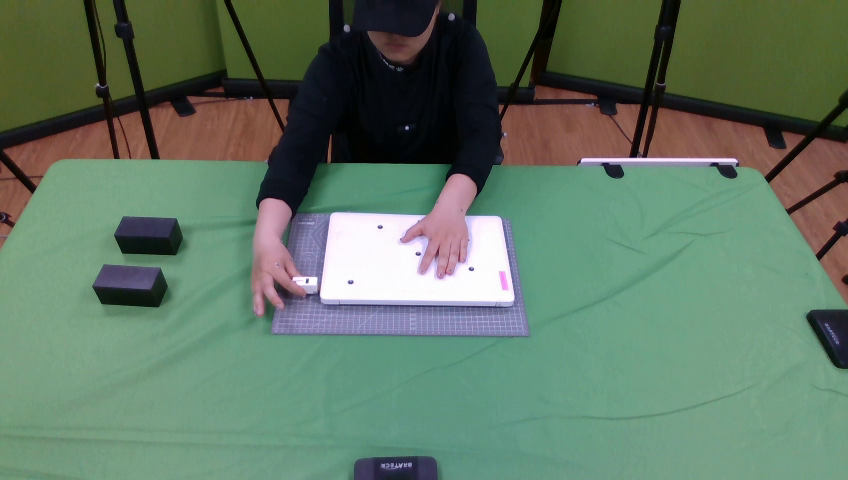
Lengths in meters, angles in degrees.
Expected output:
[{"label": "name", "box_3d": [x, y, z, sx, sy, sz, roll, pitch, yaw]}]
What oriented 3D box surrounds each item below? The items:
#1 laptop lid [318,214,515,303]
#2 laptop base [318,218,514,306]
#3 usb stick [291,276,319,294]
[{"label": "laptop lid", "box_3d": [-0.014, 0.029, 1.157, 0.357, 0.013, 0.240, 3, 43, -2]}, {"label": "laptop base", "box_3d": [-0.015, 0.038, 1.162, 0.354, 0.023, 0.234, 1, 42, -3]}, {"label": "usb stick", "box_3d": [-0.208, 0.081, 1.085, 0.059, 0.027, 0.021, 5, 51, -9]}]
